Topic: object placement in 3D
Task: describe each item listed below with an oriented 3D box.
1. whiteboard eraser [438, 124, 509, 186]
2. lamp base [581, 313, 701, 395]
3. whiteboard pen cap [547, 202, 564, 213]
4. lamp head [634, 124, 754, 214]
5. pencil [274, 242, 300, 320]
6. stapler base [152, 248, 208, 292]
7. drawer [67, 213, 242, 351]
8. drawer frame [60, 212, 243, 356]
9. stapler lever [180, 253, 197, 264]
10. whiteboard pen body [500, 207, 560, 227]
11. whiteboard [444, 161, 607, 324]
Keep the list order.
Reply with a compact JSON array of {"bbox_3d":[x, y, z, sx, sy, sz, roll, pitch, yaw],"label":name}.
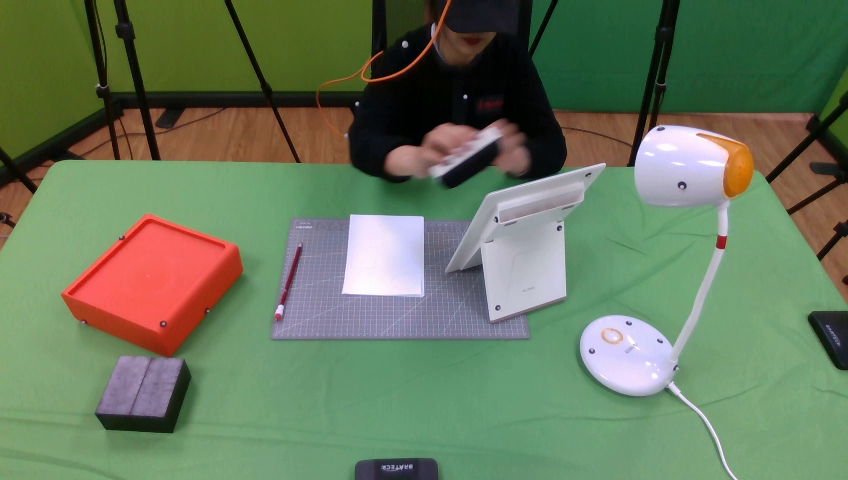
[{"bbox_3d":[0.078,-0.124,0.910,0.112,0.056,0.041,-34,73,5],"label":"whiteboard eraser"},{"bbox_3d":[0.361,0.144,0.973,0.178,0.181,0.160,34,53,23],"label":"lamp base"},{"bbox_3d":[0.277,-0.066,1.275,0.033,0.018,0.018,-18,50,-15],"label":"whiteboard pen cap"},{"bbox_3d":[0.351,-0.089,0.776,0.112,0.113,0.122,-30,30,-28],"label":"lamp head"},{"bbox_3d":[-0.249,0.070,1.115,0.012,0.012,0.193,5,44,1],"label":"pencil"},{"bbox_3d":[-0.443,0.049,1.101,0.130,0.024,0.041,31,37,29],"label":"stapler base"},{"bbox_3d":[-0.461,0.068,1.057,0.194,0.073,0.211,19,48,13],"label":"drawer"},{"bbox_3d":[-0.462,0.070,1.053,0.201,0.083,0.213,18,48,12],"label":"drawer frame"},{"bbox_3d":[-0.440,0.026,1.086,0.117,0.040,0.027,30,36,30],"label":"stapler lever"},{"bbox_3d":[0.222,-0.051,1.260,0.141,0.017,0.017,-15,49,-16],"label":"whiteboard pen body"},{"bbox_3d":[0.186,0.025,1.029,0.217,0.306,0.143,-15,68,-18],"label":"whiteboard"}]
